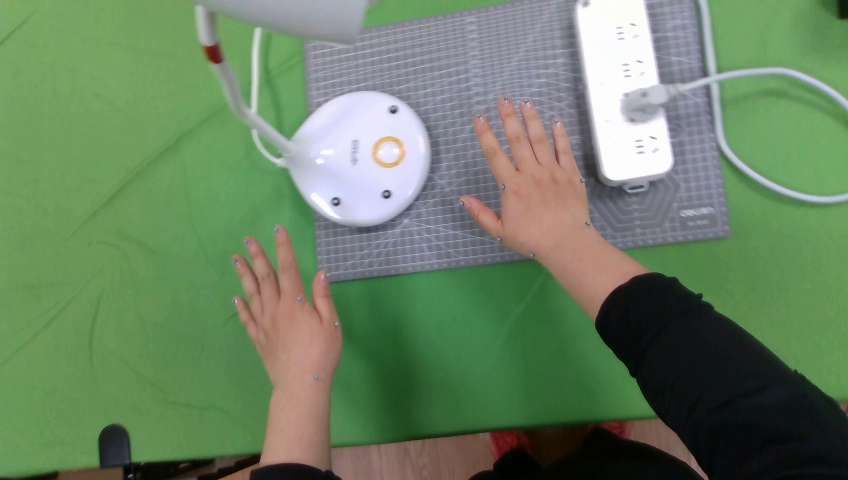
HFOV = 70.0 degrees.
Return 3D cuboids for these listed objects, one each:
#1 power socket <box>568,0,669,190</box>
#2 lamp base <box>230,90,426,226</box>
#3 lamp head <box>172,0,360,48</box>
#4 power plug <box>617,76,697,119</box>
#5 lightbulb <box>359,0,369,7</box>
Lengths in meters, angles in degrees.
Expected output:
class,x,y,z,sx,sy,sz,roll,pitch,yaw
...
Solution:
class,x,y,z,sx,sy,sz,roll,pitch,yaw
power socket,0.206,-0.167,0.649,0.072,0.033,0.226,-9,81,8
lamp base,-0.103,-0.102,0.623,0.179,0.181,0.160,-12,81,12
lamp head,-0.098,-0.163,0.326,0.123,0.112,0.112,-2,82,-12
power plug,0.236,-0.142,0.622,0.072,0.053,0.035,2,85,8
lightbulb,-0.072,-0.160,0.326,0.108,0.059,0.059,7,83,-17
